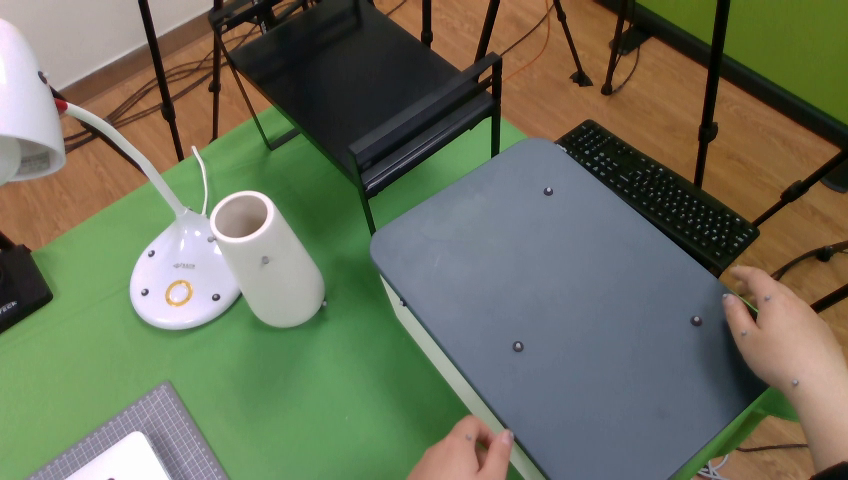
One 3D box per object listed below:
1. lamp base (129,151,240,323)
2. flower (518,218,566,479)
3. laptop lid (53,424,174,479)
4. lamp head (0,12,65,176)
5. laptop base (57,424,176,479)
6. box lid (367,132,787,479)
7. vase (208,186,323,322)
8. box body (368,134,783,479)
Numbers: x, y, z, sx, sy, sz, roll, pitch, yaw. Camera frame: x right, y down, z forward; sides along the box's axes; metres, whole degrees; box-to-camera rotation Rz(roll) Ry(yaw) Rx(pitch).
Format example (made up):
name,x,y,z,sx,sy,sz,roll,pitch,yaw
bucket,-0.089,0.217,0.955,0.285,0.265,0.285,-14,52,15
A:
name,x,y,z,sx,sy,sz,roll,pitch,yaw
lamp base,-0.329,-0.012,0.768,0.160,0.182,0.177,-7,55,0
flower,0.148,0.132,0.724,0.044,0.038,0.358,-18,55,27
laptop lid,-0.394,0.384,0.609,0.356,0.013,0.239,-35,64,-16
lamp head,-0.353,-0.121,0.484,0.112,0.113,0.122,-10,76,-1
laptop base,-0.395,0.388,0.619,0.354,0.023,0.233,-36,66,-17
box lid,0.137,0.050,0.613,0.263,0.015,0.368,-33,62,-16
vase,-0.187,0.020,0.725,0.098,0.202,0.097,-3,57,5
box body,0.144,0.091,0.675,0.254,0.162,0.360,-34,62,-15
